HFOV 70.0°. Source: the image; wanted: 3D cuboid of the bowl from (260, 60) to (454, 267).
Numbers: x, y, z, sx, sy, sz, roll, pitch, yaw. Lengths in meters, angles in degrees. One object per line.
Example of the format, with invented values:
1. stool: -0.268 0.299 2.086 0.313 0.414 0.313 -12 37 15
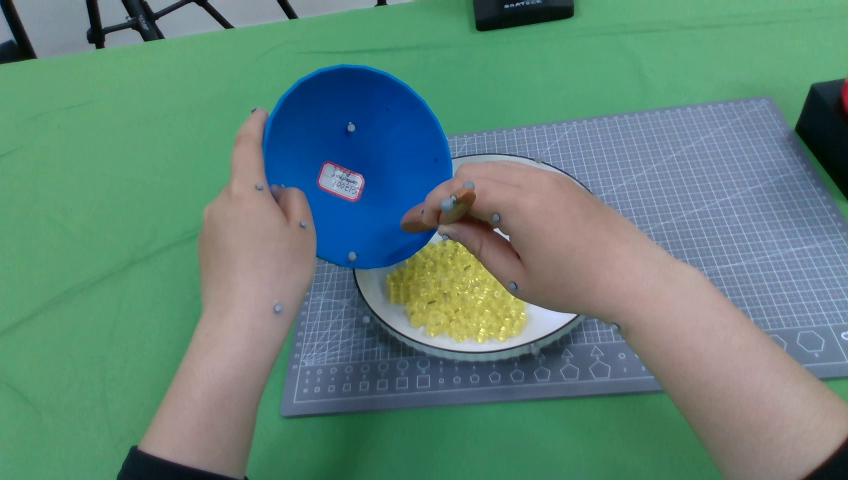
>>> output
1. bowl: -0.060 -0.053 0.471 0.151 0.152 0.076 -43 17 -24

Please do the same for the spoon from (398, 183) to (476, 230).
1. spoon: 0.010 -0.018 0.370 0.041 0.193 0.021 -15 93 -7

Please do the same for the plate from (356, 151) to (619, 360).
1. plate: 0.050 0.010 0.495 0.207 0.039 0.205 -5 49 7
